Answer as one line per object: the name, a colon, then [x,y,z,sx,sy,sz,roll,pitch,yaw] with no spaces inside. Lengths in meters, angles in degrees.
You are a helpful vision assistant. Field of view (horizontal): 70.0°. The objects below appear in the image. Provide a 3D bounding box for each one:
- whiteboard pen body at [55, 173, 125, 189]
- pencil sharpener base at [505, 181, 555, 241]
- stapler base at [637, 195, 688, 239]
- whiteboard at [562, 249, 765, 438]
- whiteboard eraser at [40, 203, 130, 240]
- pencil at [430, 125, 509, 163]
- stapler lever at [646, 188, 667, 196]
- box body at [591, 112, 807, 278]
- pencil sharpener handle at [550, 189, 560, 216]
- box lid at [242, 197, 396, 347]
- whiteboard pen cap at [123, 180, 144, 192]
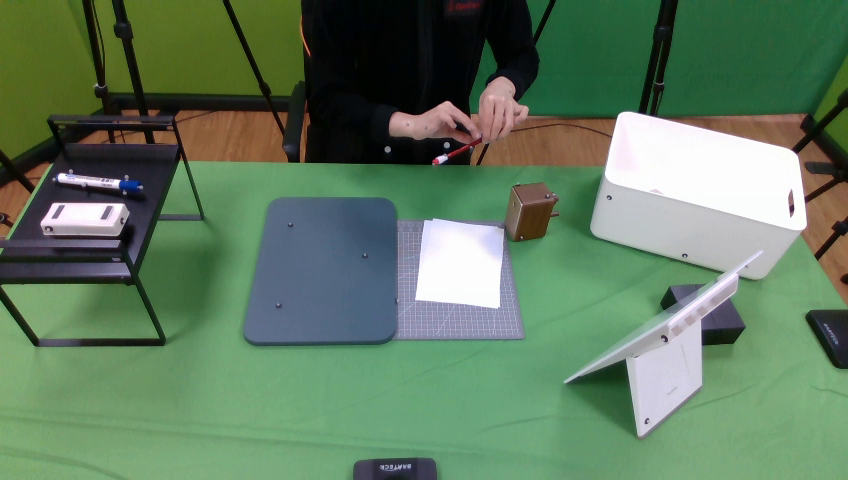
whiteboard pen body: [-0.539,-0.095,0.998,0.141,0.017,0.017,6,46,6]
pencil sharpener base: [0.212,-0.058,1.210,0.077,0.107,0.061,-9,47,-13]
stapler base: [0.507,-0.055,1.280,0.041,0.024,0.129,-14,47,-19]
whiteboard: [0.386,0.175,0.905,0.217,0.306,0.143,-26,72,-26]
whiteboard eraser: [-0.513,-0.028,0.922,0.113,0.042,0.055,1,48,-3]
pencil: [0.088,-0.179,1.114,0.194,0.012,0.012,-28,54,-28]
stapler lever: [0.507,-0.075,1.262,0.027,0.040,0.117,-14,46,-19]
box body: [0.540,-0.092,1.229,0.363,0.161,0.253,16,47,11]
pencil sharpener handle: [0.262,-0.074,1.213,0.031,0.068,0.035,-9,46,-13]
box lid: [-0.186,0.046,1.147,0.263,0.015,0.369,0,46,-3]
whiteboard pen cap: [-0.479,-0.089,0.993,0.033,0.018,0.018,7,46,14]
